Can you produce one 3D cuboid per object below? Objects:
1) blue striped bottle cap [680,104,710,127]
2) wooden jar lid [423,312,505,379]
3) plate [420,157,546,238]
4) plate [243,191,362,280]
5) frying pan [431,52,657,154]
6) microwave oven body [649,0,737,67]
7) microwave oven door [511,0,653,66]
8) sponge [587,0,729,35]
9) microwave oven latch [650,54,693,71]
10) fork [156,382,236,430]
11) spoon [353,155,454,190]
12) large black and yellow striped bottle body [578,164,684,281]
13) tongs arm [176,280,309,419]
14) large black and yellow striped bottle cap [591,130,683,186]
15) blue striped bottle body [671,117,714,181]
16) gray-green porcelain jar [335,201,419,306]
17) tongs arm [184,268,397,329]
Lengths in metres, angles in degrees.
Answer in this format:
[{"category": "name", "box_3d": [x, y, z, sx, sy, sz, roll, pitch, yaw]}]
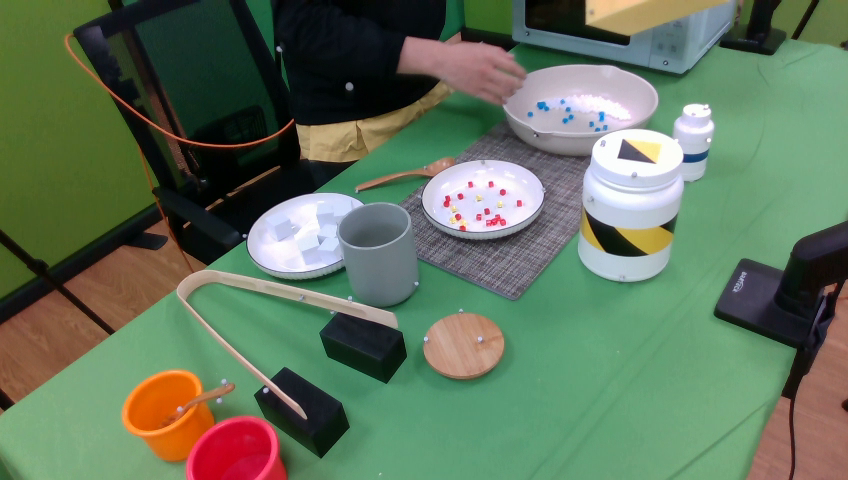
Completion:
[{"category": "blue striped bottle cap", "box_3d": [0.444, -0.205, 0.989, 0.044, 0.021, 0.044, -2, 41, 2]}, {"category": "wooden jar lid", "box_3d": [0.053, 0.142, 0.800, 0.108, 0.021, 0.108, -5, 39, 4]}, {"category": "plate", "box_3d": [0.099, -0.067, 1.017, 0.209, 0.038, 0.208, -4, 40, 4]}, {"category": "plate", "box_3d": [-0.187, -0.005, 0.992, 0.207, 0.039, 0.206, -4, 41, 4]}, {"category": "frying pan", "box_3d": [0.216, -0.302, 1.224, 0.484, 0.103, 0.308, 29, 50, 24]}, {"category": "microwave oven body", "box_3d": [0.475, -0.602, 1.411, 0.438, 0.261, 0.327, 23, 50, 32]}, {"category": "microwave oven door", "box_3d": [0.351, -0.540, 1.349, 0.353, 0.245, 0.039, 24, 50, 31]}, {"category": "sponge", "box_3d": [0.400, -0.421, 1.043, 0.119, 0.061, 0.205, 0, 0, -35]}, {"category": "microwave oven latch", "box_3d": [0.531, -0.386, 1.301, 0.078, 0.029, 0.030, 25, 51, 33]}, {"category": "fork", "box_3d": [-0.262, 0.189, 0.690, 0.018, 0.206, 0.028, 49, 43, -7]}, {"category": "spoon", "box_3d": [-0.038, -0.123, 1.116, 0.194, 0.022, 0.041, -12, 56, -3]}, {"category": "large black and yellow striped bottle body", "box_3d": [0.292, -0.046, 0.859, 0.131, 0.185, 0.130, -4, 41, 4]}, {"category": "tongs arm", "box_3d": [-0.254, 0.133, 0.801, 0.028, 0.028, 0.384, -41, 41, -23]}, {"category": "large black and yellow striped bottle cap", "box_3d": [0.282, -0.111, 0.803, 0.115, 0.019, 0.114, -3, 41, 3]}, {"category": "blue striped bottle body", "box_3d": [0.450, -0.165, 1.022, 0.063, 0.121, 0.063, -5, 41, 4]}, {"category": "gray-green porcelain jar", "box_3d": [-0.064, 0.024, 0.872, 0.106, 0.127, 0.105, -4, 41, 4]}, {"category": "tongs arm", "box_3d": [-0.202, 0.084, 0.848, 0.382, 0.027, 0.051, 11, 45, 35]}]
